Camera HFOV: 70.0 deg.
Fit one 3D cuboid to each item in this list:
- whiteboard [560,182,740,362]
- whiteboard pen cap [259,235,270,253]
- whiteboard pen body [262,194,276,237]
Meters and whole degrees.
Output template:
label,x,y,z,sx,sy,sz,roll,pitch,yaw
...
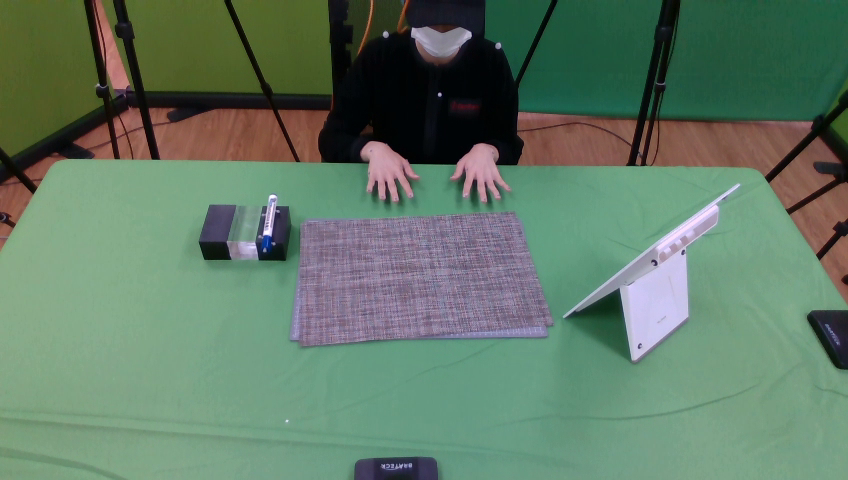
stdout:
label,x,y,z,sx,sy,sz,roll,pitch,yaw
whiteboard,0.406,0.075,1.001,0.217,0.306,0.143,-28,73,-28
whiteboard pen cap,-0.289,0.005,1.103,0.018,0.018,0.033,0,48,-5
whiteboard pen body,-0.294,-0.038,1.145,0.017,0.017,0.140,-1,46,-5
